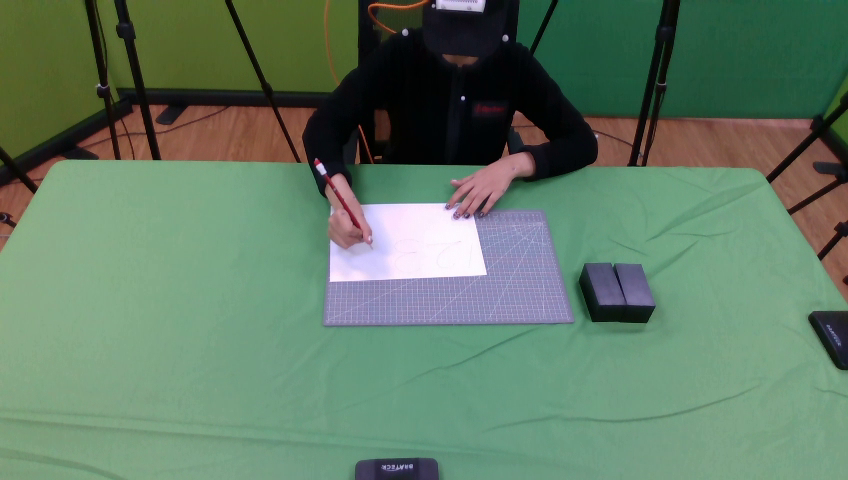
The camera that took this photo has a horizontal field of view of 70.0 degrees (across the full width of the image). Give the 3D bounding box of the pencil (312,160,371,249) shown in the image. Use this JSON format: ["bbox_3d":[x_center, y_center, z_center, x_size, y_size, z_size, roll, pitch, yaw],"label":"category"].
[{"bbox_3d":[-0.150,-0.064,1.121,0.012,0.012,0.194,-39,103,-33],"label":"pencil"}]
